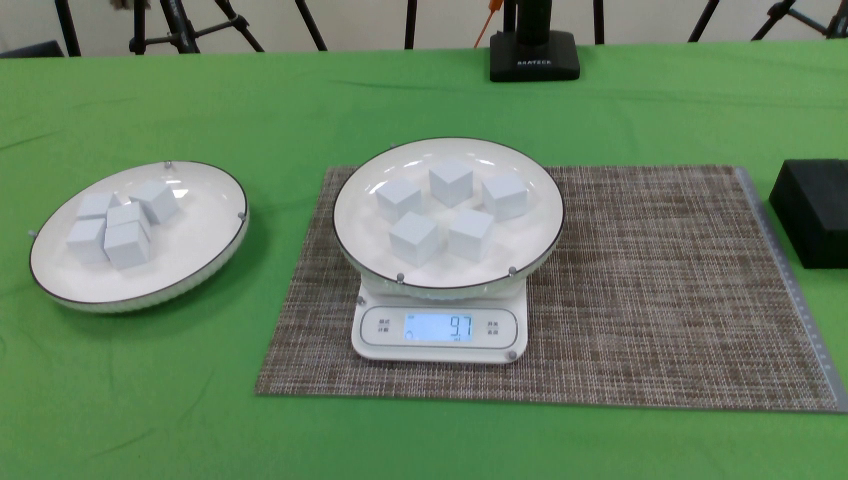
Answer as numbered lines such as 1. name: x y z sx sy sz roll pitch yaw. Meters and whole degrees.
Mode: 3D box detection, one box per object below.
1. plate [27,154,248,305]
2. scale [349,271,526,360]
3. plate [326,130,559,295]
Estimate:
1. plate: -0.279 -0.010 0.610 0.209 0.038 0.207 -2 45 2
2. scale: 0.017 0.018 0.557 0.148 0.032 0.199 1 46 6
3. plate: 0.017 -0.025 0.554 0.207 0.039 0.205 -1 45 2
